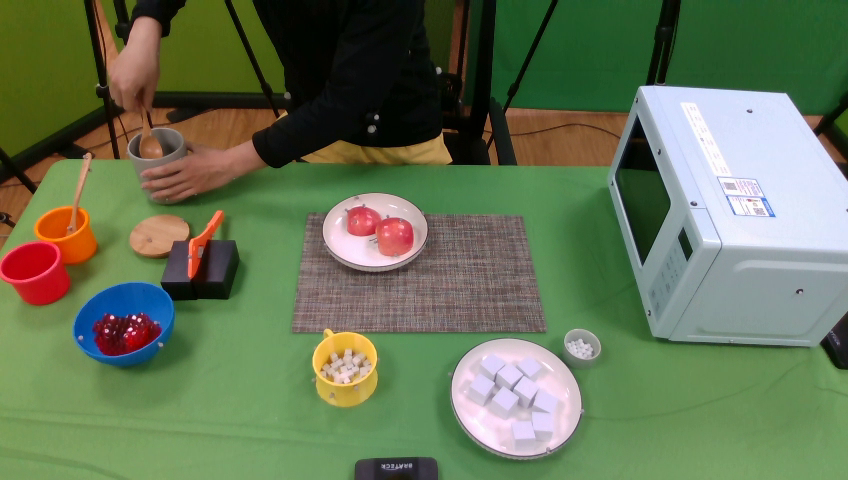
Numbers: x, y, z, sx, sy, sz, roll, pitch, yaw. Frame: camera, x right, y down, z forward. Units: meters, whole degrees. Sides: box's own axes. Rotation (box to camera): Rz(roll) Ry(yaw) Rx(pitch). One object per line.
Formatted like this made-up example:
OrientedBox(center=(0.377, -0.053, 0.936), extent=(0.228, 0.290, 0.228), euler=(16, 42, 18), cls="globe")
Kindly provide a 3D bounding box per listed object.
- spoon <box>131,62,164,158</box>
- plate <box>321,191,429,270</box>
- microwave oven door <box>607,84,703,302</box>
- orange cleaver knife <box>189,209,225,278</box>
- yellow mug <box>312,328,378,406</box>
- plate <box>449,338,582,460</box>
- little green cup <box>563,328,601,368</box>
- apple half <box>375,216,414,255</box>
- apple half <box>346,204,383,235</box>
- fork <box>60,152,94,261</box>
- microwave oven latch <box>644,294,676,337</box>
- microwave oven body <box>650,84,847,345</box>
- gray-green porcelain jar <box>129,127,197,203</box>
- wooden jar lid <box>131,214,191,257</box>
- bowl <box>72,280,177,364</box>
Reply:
OrientedBox(center=(-0.537, -0.244, 1.170), extent=(0.042, 0.194, 0.021), euler=(-13, 14, -31), cls="spoon")
OrientedBox(center=(-0.094, -0.015, 1.185), extent=(0.209, 0.038, 0.208), euler=(2, 46, -2), cls="plate")
OrientedBox(center=(0.423, -0.096, 1.138), extent=(0.039, 0.245, 0.353), euler=(3, 46, -1), cls="microwave oven door")
OrientedBox(center=(-0.401, 0.002, 1.122), extent=(0.012, 0.077, 0.210), euler=(3, 22, -4), cls="orange cleaver knife")
OrientedBox(center=(-0.132, 0.193, 0.971), extent=(0.100, 0.064, 0.130), euler=(-22, 51, -22), cls="yellow mug")
OrientedBox(center=(0.141, 0.251, 0.956), extent=(0.208, 0.039, 0.206), euler=(2, 46, -2), cls="plate")
OrientedBox(center=(0.265, 0.185, 1.025), extent=(0.061, 0.039, 0.061), euler=(1, 45, -1), cls="little green cup")
OrientedBox(center=(-0.056, -0.017, 1.169), extent=(0.075, 0.053, 0.080), euler=(0, 46, -7), cls="apple half")
OrientedBox(center=(-0.119, -0.049, 1.207), extent=(0.081, 0.033, 0.081), euler=(2, 50, -2), cls="apple half")
OrientedBox(center=(-0.638, -0.063, 1.119), extent=(0.028, 0.018, 0.207), euler=(12, 90, 7), cls="fork")
OrientedBox(center=(0.411, 0.132, 1.061), extent=(0.030, 0.029, 0.078), euler=(1, 46, -2), cls="microwave oven latch")
OrientedBox(center=(0.569, -0.054, 1.116), extent=(0.326, 0.261, 0.439), euler=(2, 46, -1), cls="microwave oven body")
OrientedBox(center=(-0.521, -0.147, 1.224), extent=(0.106, 0.127, 0.105), euler=(2, 46, -2), cls="gray-green porcelain jar")
OrientedBox(center=(-0.504, -0.008, 1.167), extent=(0.108, 0.021, 0.107), euler=(3, 46, -3), cls="wooden jar lid")
OrientedBox(center=(-0.473, 0.147, 0.982), extent=(0.151, 0.077, 0.150), euler=(2, 46, -2), cls="bowl")
